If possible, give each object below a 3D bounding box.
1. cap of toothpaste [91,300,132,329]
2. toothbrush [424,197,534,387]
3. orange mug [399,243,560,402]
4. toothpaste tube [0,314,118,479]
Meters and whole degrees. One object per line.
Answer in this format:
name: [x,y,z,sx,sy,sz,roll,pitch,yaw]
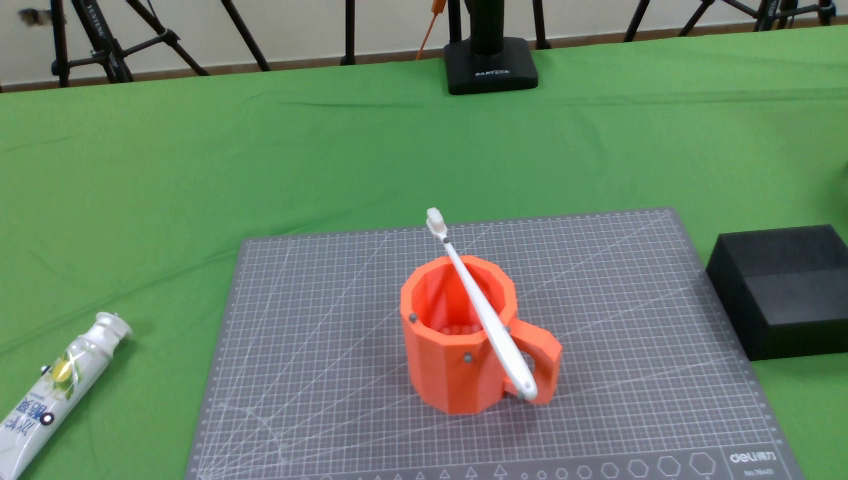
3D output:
cap of toothpaste: [-0.280,0.067,0.541,0.037,0.038,0.011,7,47,12]
toothbrush: [0.035,0.029,0.435,0.014,0.017,0.179,-15,48,-13]
orange mug: [0.042,0.070,0.468,0.125,0.102,0.083,17,51,25]
toothpaste tube: [-0.313,0.126,0.496,0.055,0.035,0.164,11,52,23]
